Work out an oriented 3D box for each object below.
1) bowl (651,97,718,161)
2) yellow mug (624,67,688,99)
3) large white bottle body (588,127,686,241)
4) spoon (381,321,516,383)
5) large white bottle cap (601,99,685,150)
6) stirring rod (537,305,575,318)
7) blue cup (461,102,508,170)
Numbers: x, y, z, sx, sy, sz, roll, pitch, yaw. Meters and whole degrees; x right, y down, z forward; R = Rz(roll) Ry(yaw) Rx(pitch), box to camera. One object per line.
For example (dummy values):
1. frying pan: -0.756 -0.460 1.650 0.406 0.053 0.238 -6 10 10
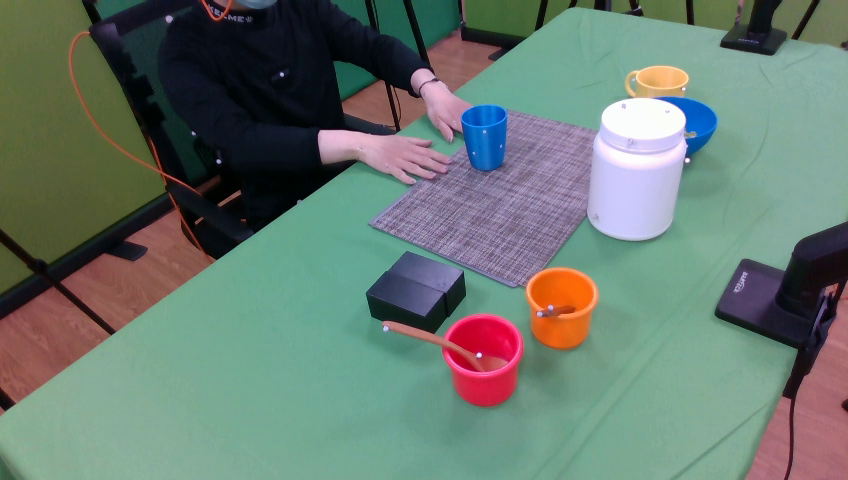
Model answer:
1. bowl: 0.439 -0.187 1.087 0.151 0.077 0.150 -4 41 4
2. yellow mug: 0.464 -0.305 1.230 0.100 0.064 0.129 -34 46 -27
3. large white bottle body: 0.324 -0.105 0.926 0.130 0.185 0.130 -4 41 4
4. spoon: 0.033 0.131 0.726 0.195 0.021 0.041 29 30 -26
5. large white bottle cap: 0.314 -0.168 0.870 0.115 0.018 0.114 -4 41 4
6. stirring rod: 0.168 0.088 0.759 0.014 0.006 0.177 8 1 24
7. blue cup: 0.114 -0.185 1.109 0.092 0.100 0.092 -5 39 4
